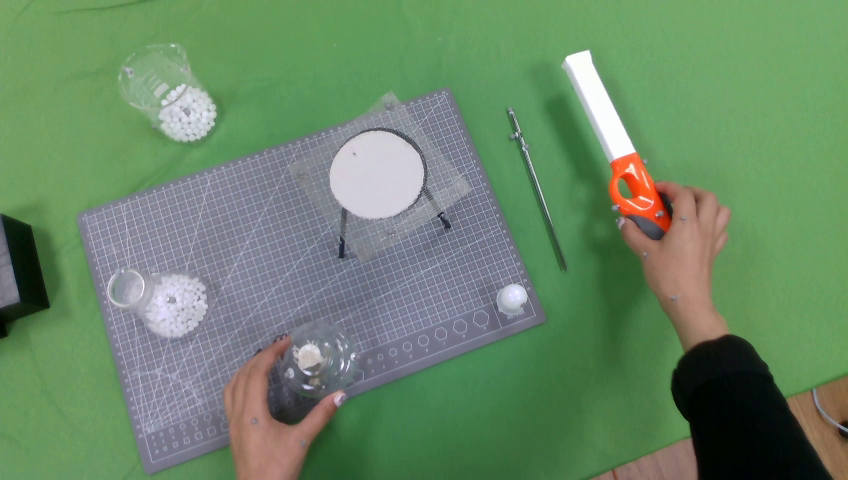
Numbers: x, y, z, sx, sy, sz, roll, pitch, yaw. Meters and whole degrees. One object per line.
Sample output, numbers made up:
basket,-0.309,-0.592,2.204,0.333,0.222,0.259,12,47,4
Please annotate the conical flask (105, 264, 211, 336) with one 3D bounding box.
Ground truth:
conical flask,-0.268,0.054,0.603,0.075,0.122,0.075,0,77,0

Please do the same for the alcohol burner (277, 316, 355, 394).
alcohol burner,-0.108,0.112,0.596,0.078,0.119,0.077,0,77,-2

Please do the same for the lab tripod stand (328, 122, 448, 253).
lab tripod stand,-0.045,-0.050,0.621,0.148,0.132,0.148,0,80,-1

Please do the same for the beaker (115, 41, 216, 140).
beaker,-0.276,-0.160,0.663,0.074,0.100,0.084,28,78,5

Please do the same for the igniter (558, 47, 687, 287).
igniter,0.213,-0.082,0.651,0.057,0.025,0.275,-19,80,-13

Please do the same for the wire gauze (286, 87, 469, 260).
wire gauze,-0.044,-0.062,0.555,0.125,0.011,0.121,-37,81,-7

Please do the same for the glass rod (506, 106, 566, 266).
glass rod,0.126,-0.064,0.692,0.008,0.008,0.198,-16,78,-4

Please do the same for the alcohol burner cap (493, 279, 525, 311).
alcohol burner cap,0.093,0.057,0.646,0.034,0.048,0.033,0,77,-1
